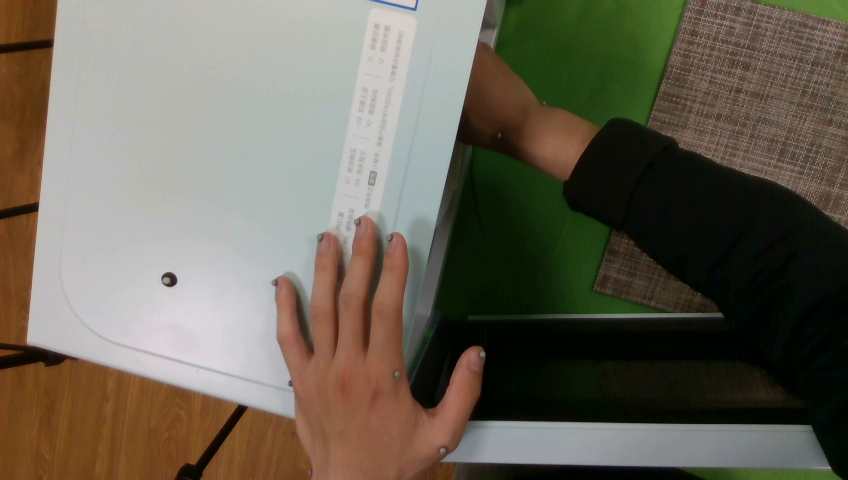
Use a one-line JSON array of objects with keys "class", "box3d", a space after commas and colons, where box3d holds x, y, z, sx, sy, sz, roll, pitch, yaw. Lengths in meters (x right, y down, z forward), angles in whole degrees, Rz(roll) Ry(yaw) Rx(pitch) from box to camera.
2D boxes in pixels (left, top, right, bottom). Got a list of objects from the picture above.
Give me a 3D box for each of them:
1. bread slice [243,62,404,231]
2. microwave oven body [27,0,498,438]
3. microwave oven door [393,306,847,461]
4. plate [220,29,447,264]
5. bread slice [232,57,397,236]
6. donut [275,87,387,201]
[{"class": "bread slice", "box3d": [-0.098, -0.088, 0.545, 0.107, 0.018, 0.134, -34, 93, 4]}, {"class": "microwave oven body", "box3d": [-0.092, -0.125, 0.496, 0.326, 0.259, 0.443, 14, 103, 5]}, {"class": "microwave oven door", "box3d": [0.170, 0.107, 0.499, 0.355, 0.243, 0.039, -2, 99, 8]}, {"class": "plate", "box3d": [-0.081, -0.082, 0.556, 0.207, 0.039, 0.208, 1, 101, 7]}, {"class": "bread slice", "box3d": [-0.099, -0.080, 0.501, 0.105, 0.019, 0.132, -29, 98, 13]}, {"class": "donut", "box3d": [-0.080, -0.083, 0.526, 0.099, 0.048, 0.099, 1, 102, 4]}]
